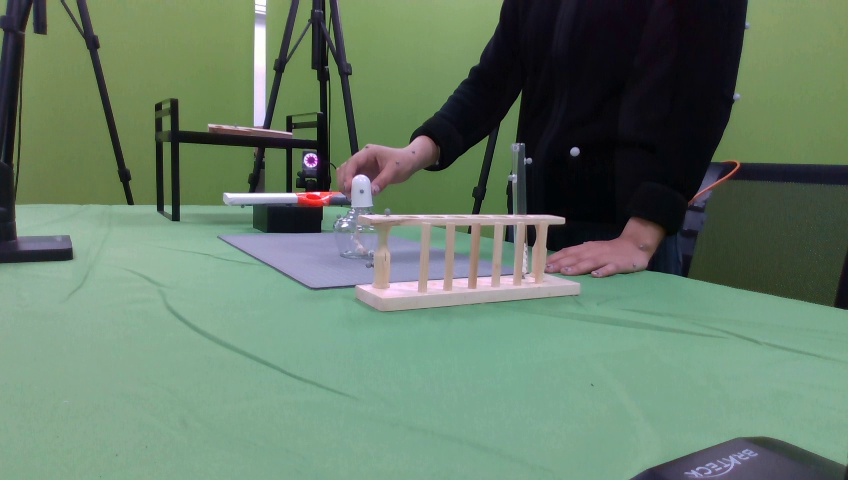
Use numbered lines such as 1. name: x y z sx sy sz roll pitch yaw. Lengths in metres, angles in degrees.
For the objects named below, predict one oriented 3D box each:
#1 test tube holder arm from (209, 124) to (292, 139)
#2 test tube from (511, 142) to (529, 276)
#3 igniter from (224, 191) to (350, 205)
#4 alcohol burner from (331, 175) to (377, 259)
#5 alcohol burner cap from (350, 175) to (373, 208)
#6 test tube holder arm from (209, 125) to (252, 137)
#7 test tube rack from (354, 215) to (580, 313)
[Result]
1. test tube holder arm: -0.381 -0.238 1.334 0.179 0.015 0.013 1 41 -29
2. test tube: 0.108 -0.034 0.678 0.017 0.150 0.017 -3 7 1
3. igniter: -0.237 -0.079 1.157 0.278 0.025 0.057 -3 21 -31
4. alcohol burner: -0.090 -0.033 0.855 0.078 0.119 0.078 5 7 0
5. alcohol burner cap: -0.090 -0.068 0.850 0.034 0.048 0.034 -4 8 1
6. test tube holder arm: -0.419 -0.236 1.308 0.088 0.015 0.010 2 40 -28
7. test tube rack: 0.053 0.019 0.635 0.243 0.085 0.066 -1 8 -29
